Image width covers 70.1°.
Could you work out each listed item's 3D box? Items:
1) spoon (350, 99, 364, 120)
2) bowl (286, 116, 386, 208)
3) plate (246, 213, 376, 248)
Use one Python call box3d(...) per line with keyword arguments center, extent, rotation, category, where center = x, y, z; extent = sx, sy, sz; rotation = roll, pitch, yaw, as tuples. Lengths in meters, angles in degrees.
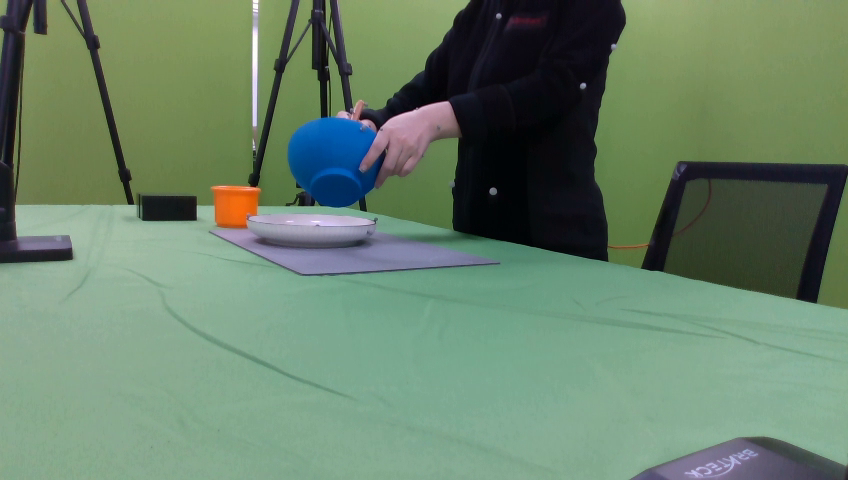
box3d(center=(-0.128, -0.154, 0.966), extent=(0.041, 0.193, 0.021), rotation=(14, -34, 0), category="spoon")
box3d(center=(-0.131, -0.101, 0.898), extent=(0.152, 0.151, 0.076), rotation=(1, 52, -7), category="bowl")
box3d(center=(-0.185, -0.017, 0.994), extent=(0.209, 0.038, 0.209), rotation=(3, 8, 0), category="plate")
